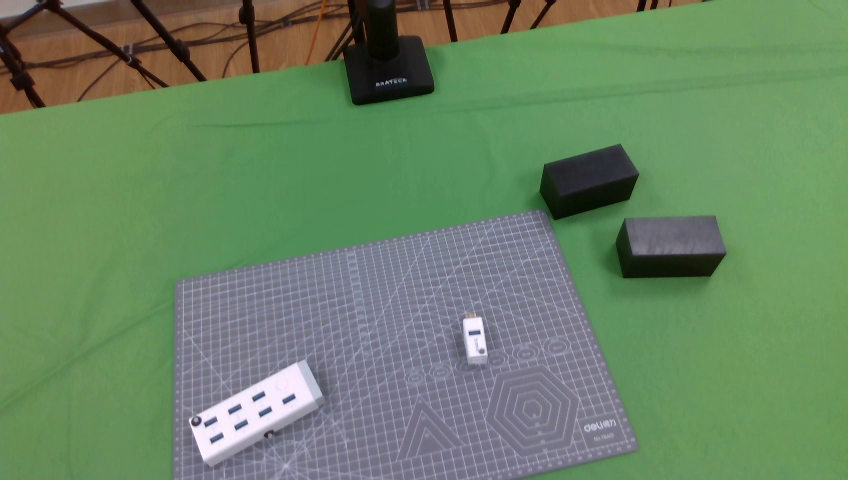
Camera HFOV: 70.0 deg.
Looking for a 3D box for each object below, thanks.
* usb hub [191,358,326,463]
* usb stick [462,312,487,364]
[{"bbox_3d":[-0.167,0.170,0.613,0.125,0.025,0.049,-26,59,-15],"label":"usb hub"},{"bbox_3d":[0.053,0.101,0.649,0.021,0.027,0.058,-7,55,1],"label":"usb stick"}]
